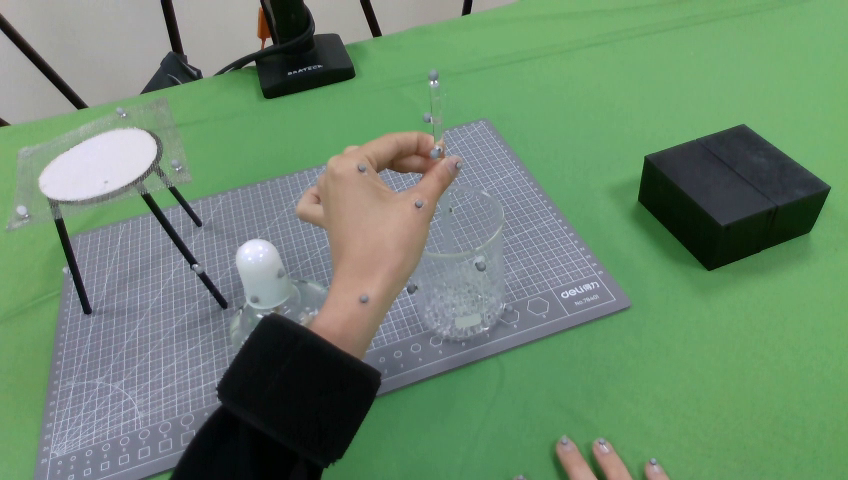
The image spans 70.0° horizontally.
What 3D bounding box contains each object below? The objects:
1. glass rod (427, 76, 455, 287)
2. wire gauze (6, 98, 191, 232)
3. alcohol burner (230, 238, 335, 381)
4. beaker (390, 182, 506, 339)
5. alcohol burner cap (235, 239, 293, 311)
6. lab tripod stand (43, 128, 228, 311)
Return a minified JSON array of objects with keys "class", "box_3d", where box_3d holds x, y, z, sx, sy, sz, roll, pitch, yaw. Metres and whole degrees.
[{"class":"glass rod","box_3d":[0.013,-0.028,0.424,0.008,0.201,0.008,-3,49,4]},{"class":"wire gauze","box_3d":[-0.245,-0.059,0.453,0.125,0.011,0.120,-22,45,-12]},{"class":"alcohol burner","box_3d":[-0.106,0.046,0.434,0.078,0.120,0.077,-5,42,5]},{"class":"beaker","box_3d":[0.021,0.020,0.451,0.084,0.101,0.073,-20,45,-10]},{"class":"alcohol burner cap","box_3d":[-0.110,0.021,0.408,0.034,0.048,0.033,-4,41,4]},{"class":"lab tripod stand","box_3d":[-0.237,-0.011,0.500,0.148,0.133,0.147,-4,46,5]}]
